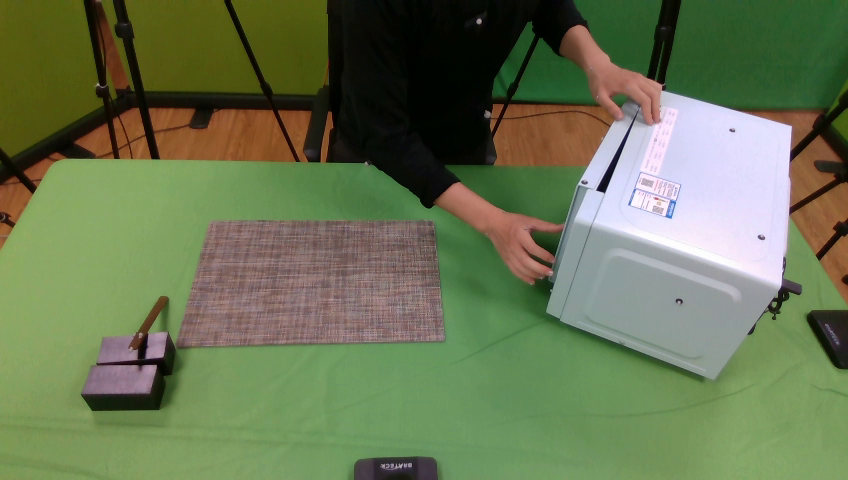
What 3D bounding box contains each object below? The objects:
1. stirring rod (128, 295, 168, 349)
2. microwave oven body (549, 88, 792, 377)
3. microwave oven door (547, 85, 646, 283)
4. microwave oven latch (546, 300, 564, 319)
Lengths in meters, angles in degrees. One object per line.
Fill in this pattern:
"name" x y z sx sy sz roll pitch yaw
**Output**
"stirring rod" -0.451 0.131 0.996 0.014 0.006 0.175 9 21 -10
"microwave oven body" 0.456 -0.028 1.088 0.325 0.261 0.440 20 47 16
"microwave oven door" 0.334 -0.110 1.151 0.039 0.245 0.355 23 49 17
"microwave oven latch" 0.242 0.102 1.080 0.030 0.029 0.079 22 48 18
